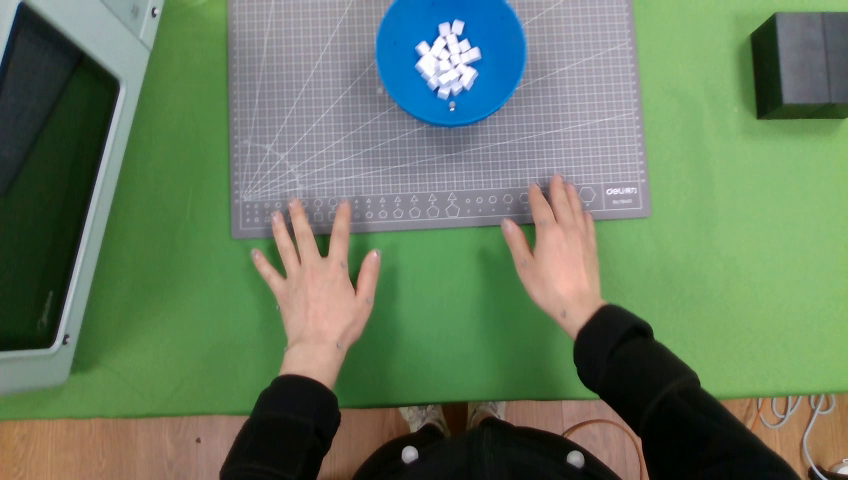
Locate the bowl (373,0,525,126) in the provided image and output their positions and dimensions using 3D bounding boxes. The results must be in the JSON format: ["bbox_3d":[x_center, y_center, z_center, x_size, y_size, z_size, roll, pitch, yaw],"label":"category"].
[{"bbox_3d":[0.024,-0.183,0.631,0.151,0.077,0.151,0,84,-1],"label":"bowl"}]

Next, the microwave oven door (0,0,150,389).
[{"bbox_3d":[-0.340,-0.051,0.511,0.039,0.244,0.355,11,83,1],"label":"microwave oven door"}]

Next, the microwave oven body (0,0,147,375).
[{"bbox_3d":[-0.475,-0.119,0.521,0.326,0.260,0.440,11,84,0],"label":"microwave oven body"}]

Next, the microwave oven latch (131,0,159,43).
[{"bbox_3d":[-0.297,-0.251,0.637,0.030,0.029,0.079,12,84,0],"label":"microwave oven latch"}]
